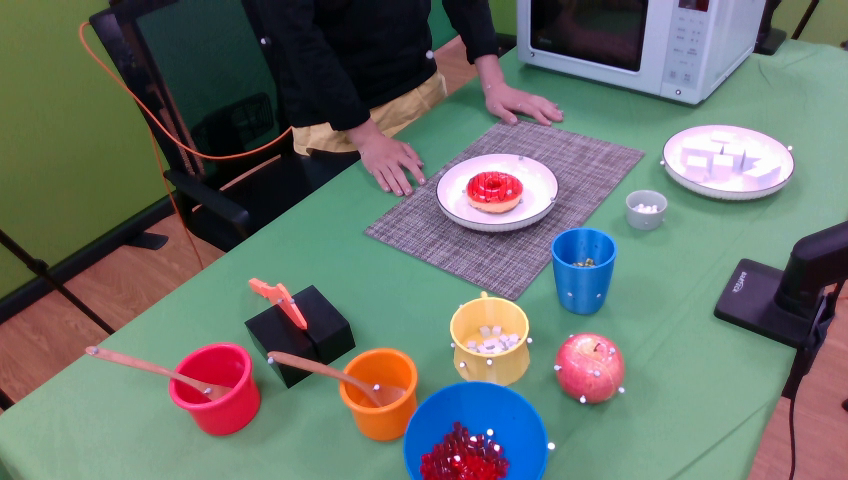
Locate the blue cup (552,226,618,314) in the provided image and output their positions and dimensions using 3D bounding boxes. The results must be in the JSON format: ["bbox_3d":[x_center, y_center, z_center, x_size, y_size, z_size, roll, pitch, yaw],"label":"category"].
[{"bbox_3d":[0.218,0.047,0.826,0.092,0.101,0.092,-6,40,5],"label":"blue cup"}]

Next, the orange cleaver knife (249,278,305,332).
[{"bbox_3d":[-0.210,0.089,0.855,0.012,0.077,0.210,-28,15,-25],"label":"orange cleaver knife"}]

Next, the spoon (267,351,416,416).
[{"bbox_3d":[-0.091,0.163,0.699,0.021,0.195,0.041,-44,30,27],"label":"spoon"}]

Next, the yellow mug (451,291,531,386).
[{"bbox_3d":[0.086,0.120,0.786,0.100,0.064,0.130,-7,39,2],"label":"yellow mug"}]

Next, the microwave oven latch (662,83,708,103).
[{"bbox_3d":[0.517,-0.296,1.204,0.078,0.029,0.030,28,52,35],"label":"microwave oven latch"}]

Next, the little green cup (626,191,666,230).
[{"bbox_3d":[0.352,-0.046,0.963,0.061,0.039,0.061,-4,40,4],"label":"little green cup"}]

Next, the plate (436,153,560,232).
[{"bbox_3d":[0.125,-0.078,1.029,0.209,0.038,0.208,-4,40,4],"label":"plate"}]

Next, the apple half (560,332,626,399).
[{"bbox_3d":[0.209,0.147,0.730,0.080,0.075,0.053,26,48,38],"label":"apple half"}]

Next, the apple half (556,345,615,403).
[{"bbox_3d":[0.181,0.166,0.709,0.080,0.081,0.033,29,50,35],"label":"apple half"}]

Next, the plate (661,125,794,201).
[{"bbox_3d":[0.513,-0.128,1.035,0.207,0.039,0.206,-4,40,4],"label":"plate"}]

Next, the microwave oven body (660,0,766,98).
[{"bbox_3d":[0.472,-0.513,1.317,0.438,0.261,0.327,26,51,34],"label":"microwave oven body"}]

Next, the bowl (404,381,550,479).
[{"bbox_3d":[0.058,0.235,0.645,0.151,0.077,0.150,-4,39,4],"label":"bowl"}]

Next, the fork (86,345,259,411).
[{"bbox_3d":[-0.298,0.167,0.728,0.209,0.018,0.028,28,47,-23],"label":"fork"}]

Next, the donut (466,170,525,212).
[{"bbox_3d":[0.121,-0.083,1.019,0.099,0.048,0.098,-4,39,3],"label":"donut"}]

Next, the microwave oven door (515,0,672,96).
[{"bbox_3d":[0.343,-0.454,1.259,0.353,0.245,0.039,26,51,33],"label":"microwave oven door"}]
